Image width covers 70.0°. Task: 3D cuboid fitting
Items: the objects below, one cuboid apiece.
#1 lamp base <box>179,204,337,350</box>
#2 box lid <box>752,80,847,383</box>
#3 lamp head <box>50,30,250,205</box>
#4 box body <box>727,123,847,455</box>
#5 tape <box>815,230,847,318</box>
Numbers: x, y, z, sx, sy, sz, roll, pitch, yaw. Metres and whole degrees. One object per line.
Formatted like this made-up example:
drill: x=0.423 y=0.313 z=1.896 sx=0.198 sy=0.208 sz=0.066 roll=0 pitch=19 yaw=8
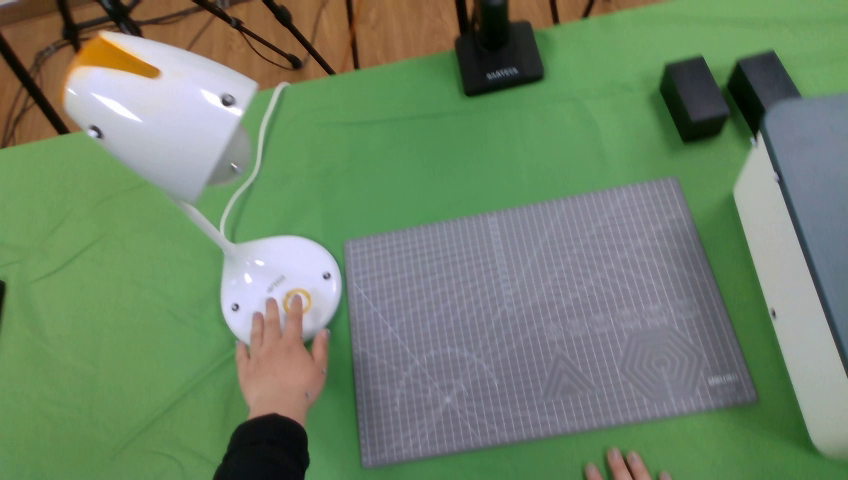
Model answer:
lamp base: x=-0.215 y=0.030 z=0.733 sx=0.178 sy=0.182 sz=0.160 roll=25 pitch=72 yaw=22
box lid: x=0.486 y=-0.007 z=0.560 sx=0.263 sy=0.015 sz=0.368 roll=-8 pitch=65 yaw=6
lamp head: x=-0.211 y=-0.099 z=0.463 sx=0.123 sy=0.112 sz=0.112 roll=25 pitch=68 yaw=-17
box body: x=0.498 y=0.026 z=0.626 sx=0.254 sy=0.162 sz=0.361 roll=-8 pitch=65 yaw=6
tape: x=0.507 y=0.036 z=0.675 sx=0.117 sy=0.053 sz=0.116 roll=-3 pitch=65 yaw=7
